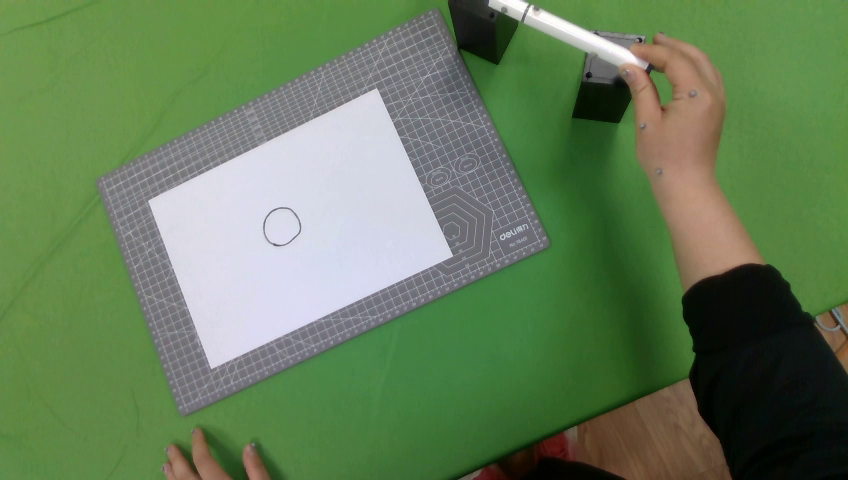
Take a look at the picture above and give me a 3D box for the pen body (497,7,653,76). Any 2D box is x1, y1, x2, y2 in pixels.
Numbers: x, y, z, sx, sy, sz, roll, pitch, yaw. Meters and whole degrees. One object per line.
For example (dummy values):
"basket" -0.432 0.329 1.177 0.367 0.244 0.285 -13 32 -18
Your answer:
"pen body" 0.124 -0.172 0.515 0.144 0.017 0.017 23 88 2

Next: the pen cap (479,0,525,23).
"pen cap" 0.067 -0.201 0.521 0.038 0.017 0.017 25 88 5
